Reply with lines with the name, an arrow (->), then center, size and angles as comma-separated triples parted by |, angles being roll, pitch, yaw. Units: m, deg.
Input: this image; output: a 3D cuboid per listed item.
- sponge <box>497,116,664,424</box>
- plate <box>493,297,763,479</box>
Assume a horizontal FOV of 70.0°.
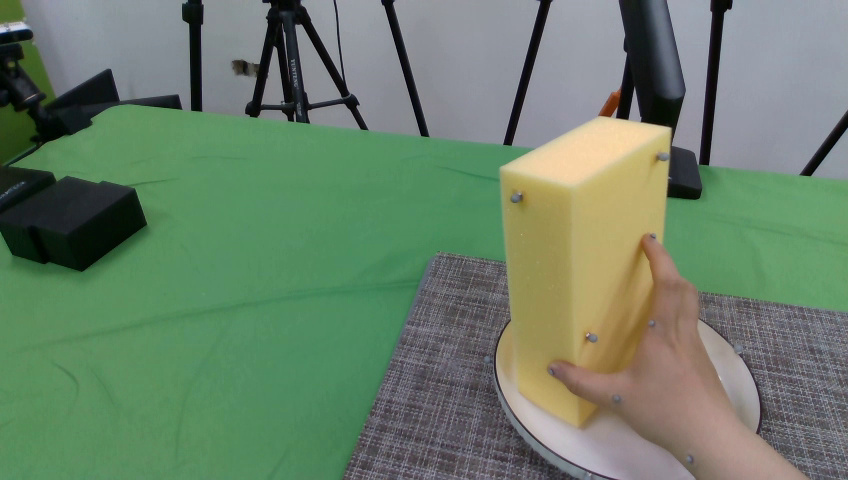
sponge -> 0.123, 0.023, 0.467 | 0.118, 0.208, 0.060 | -32, 37, -33
plate -> 0.160, 0.119, 0.497 | 0.208, 0.039, 0.205 | 0, 36, 0
